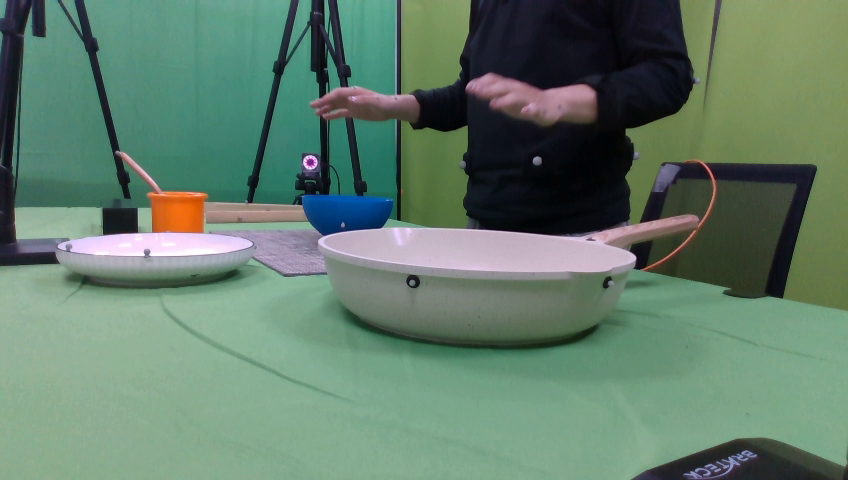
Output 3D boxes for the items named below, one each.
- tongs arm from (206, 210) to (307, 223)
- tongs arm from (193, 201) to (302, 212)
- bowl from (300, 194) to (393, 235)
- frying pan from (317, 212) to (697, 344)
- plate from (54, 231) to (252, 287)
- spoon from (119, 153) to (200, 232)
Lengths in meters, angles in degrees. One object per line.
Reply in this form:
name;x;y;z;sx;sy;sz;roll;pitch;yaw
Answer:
tongs arm;-0.297;-0.057;1.360;0.390;0.028;0.028;-4;7;-39
tongs arm;-0.338;-0.072;1.429;0.387;0.026;0.050;0;9;-26
bowl;-0.128;-0.034;0.995;0.151;0.077;0.151;2;7;0
frying pan;0.133;0.013;0.629;0.490;0.102;0.305;-12;14;-31
plate;-0.309;0.020;0.705;0.208;0.039;0.207;3;7;0
spoon;-0.439;-0.077;1.000;0.021;0.193;0.042;-43;-7;21
